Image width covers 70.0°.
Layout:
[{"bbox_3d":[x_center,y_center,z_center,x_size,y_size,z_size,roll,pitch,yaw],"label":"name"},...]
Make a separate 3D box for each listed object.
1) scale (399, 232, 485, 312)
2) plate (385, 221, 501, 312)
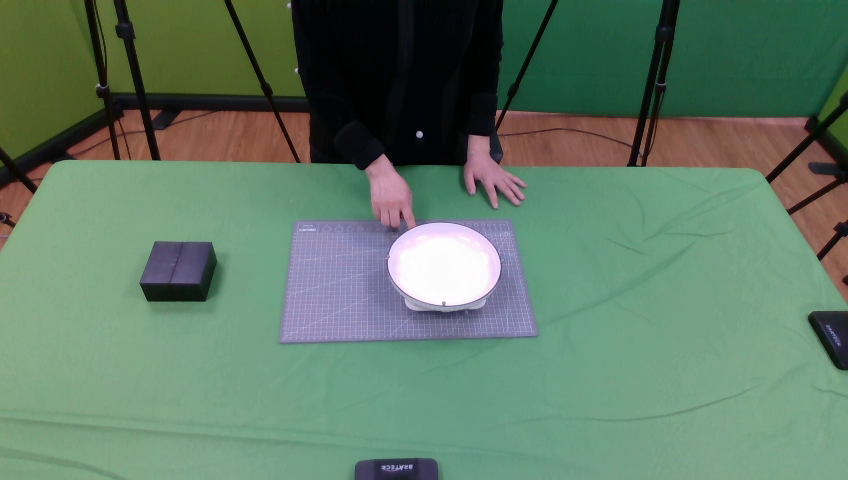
[{"bbox_3d":[0.031,0.050,1.141,0.149,0.032,0.199,-1,46,-5],"label":"scale"},{"bbox_3d":[0.034,0.050,1.096,0.209,0.038,0.208,2,46,-2],"label":"plate"}]
